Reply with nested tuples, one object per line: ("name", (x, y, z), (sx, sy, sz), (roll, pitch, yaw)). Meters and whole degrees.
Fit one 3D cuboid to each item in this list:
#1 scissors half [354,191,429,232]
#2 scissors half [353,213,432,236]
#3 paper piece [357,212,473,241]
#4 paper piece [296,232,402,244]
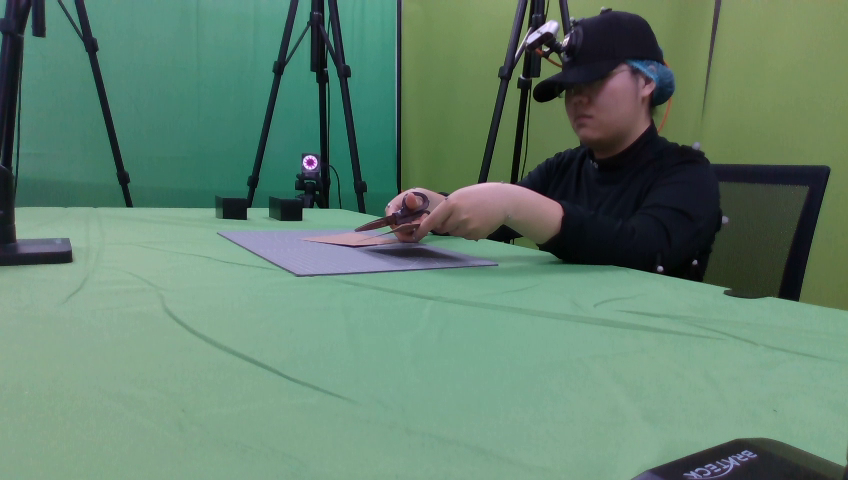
("scissors half", (-0.054, -0.045, 1.019), (0.013, 0.040, 0.176), (-8, 16, 46))
("scissors half", (-0.050, -0.025, 1.022), (0.176, 0.040, 0.012), (-4, 3, -45))
("paper piece", (-0.016, -0.022, 0.933), (0.136, 0.008, 0.137), (-19, 6, -34))
("paper piece", (-0.128, -0.003, 1.052), (0.135, 0.004, 0.136), (6, 7, 35))
